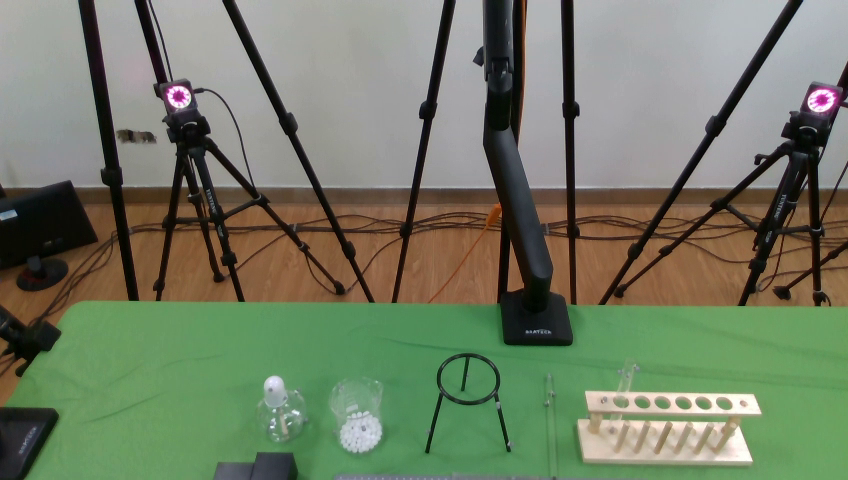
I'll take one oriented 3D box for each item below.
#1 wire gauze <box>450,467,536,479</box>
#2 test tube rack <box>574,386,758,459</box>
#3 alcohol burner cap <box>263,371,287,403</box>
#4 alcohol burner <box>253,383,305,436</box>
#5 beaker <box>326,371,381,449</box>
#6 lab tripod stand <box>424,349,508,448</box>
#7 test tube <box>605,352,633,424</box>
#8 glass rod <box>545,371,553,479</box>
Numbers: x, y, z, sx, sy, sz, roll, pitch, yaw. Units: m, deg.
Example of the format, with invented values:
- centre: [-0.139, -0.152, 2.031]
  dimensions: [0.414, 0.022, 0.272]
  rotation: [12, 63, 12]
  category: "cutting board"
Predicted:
- centre: [0.096, 0.366, 0.828]
  dimensions: [0.125, 0.011, 0.120]
  rotation: [1, 40, 4]
  category: "wire gauze"
- centre: [0.351, 0.266, 0.884]
  dimensions: [0.242, 0.086, 0.066]
  rotation: [0, 41, 2]
  category: "test tube rack"
- centre: [-0.218, 0.210, 0.879]
  dimensions: [0.034, 0.048, 0.033]
  rotation: [3, 43, -2]
  category: "alcohol burner cap"
- centre: [-0.218, 0.238, 0.903]
  dimensions: [0.078, 0.120, 0.077]
  rotation: [0, 39, 0]
  category: "alcohol burner"
- centre: [-0.098, 0.253, 0.895]
  dimensions: [0.084, 0.101, 0.073]
  rotation: [-27, 48, -28]
  category: "beaker"
- centre: [0.059, 0.232, 0.891]
  dimensions: [0.148, 0.133, 0.147]
  rotation: [-2, 40, 2]
  category: "lab tripod stand"
- centre: [0.278, 0.216, 0.869]
  dimensions: [0.017, 0.151, 0.017]
  rotation: [-1, 38, 1]
  category: "test tube"
- centre: [0.191, 0.282, 0.925]
  dimensions: [0.008, 0.008, 0.198]
  rotation: [4, 42, 5]
  category: "glass rod"
